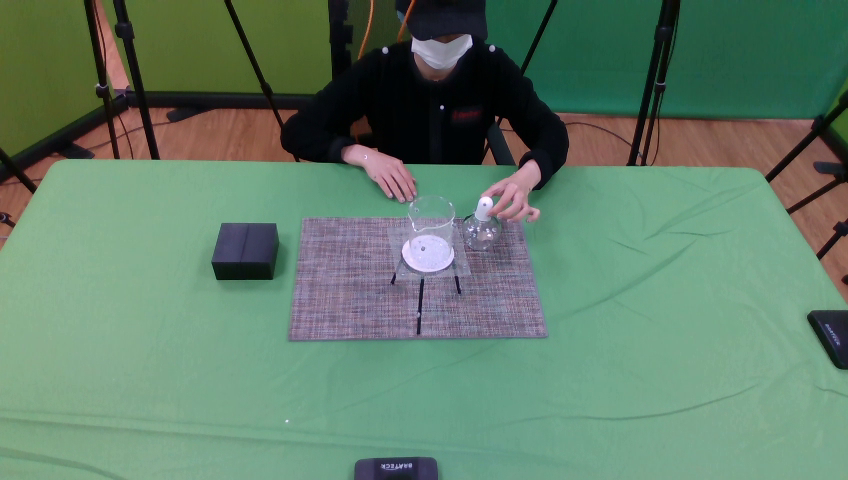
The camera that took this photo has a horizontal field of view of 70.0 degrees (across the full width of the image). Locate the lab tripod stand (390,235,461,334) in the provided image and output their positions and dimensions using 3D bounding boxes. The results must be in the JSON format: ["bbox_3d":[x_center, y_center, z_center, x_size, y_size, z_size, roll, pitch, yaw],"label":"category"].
[{"bbox_3d":[-0.001,0.067,1.050,0.148,0.132,0.147,1,47,-1],"label":"lab tripod stand"}]

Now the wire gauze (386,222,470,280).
[{"bbox_3d":[0.005,0.018,1.006,0.125,0.011,0.120,-7,45,-5],"label":"wire gauze"}]

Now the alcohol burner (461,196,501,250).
[{"bbox_3d":[0.111,-0.037,1.172,0.078,0.120,0.077,0,45,0],"label":"alcohol burner"}]

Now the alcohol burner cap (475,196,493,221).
[{"bbox_3d":[0.116,-0.062,1.147,0.034,0.048,0.033,4,47,-4],"label":"alcohol burner cap"}]

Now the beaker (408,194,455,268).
[{"bbox_3d":[0.009,-0.010,0.965,0.074,0.101,0.084,23,50,20],"label":"beaker"}]
